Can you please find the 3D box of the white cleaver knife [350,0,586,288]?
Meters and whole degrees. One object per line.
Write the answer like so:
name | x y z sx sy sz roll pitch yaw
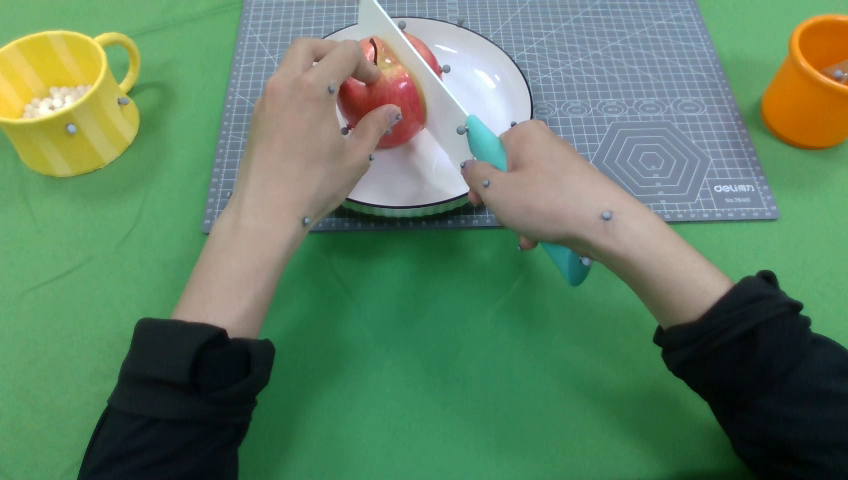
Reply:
white cleaver knife | 0.021 -0.079 0.440 0.021 0.066 0.284 -27 67 -18

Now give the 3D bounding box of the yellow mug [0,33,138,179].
yellow mug | -0.287 -0.119 0.494 0.099 0.064 0.130 29 62 16

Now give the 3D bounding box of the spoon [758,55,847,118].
spoon | 0.364 -0.156 0.477 0.022 0.194 0.041 24 46 -39

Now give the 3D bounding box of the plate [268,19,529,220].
plate | -0.020 -0.100 0.500 0.209 0.038 0.207 1 59 -1

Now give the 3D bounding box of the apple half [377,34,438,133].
apple half | -0.009 -0.128 0.487 0.033 0.082 0.080 -29 63 -19

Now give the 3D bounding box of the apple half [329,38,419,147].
apple half | -0.045 -0.108 0.474 0.053 0.075 0.080 -30 69 -12
